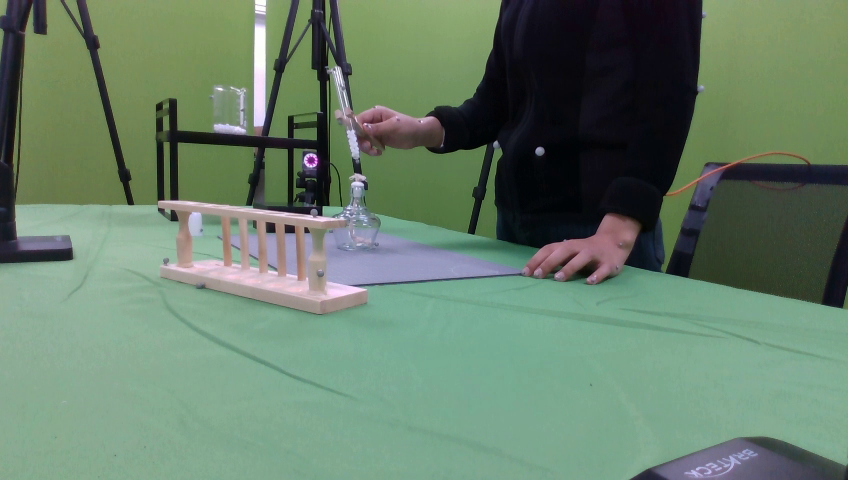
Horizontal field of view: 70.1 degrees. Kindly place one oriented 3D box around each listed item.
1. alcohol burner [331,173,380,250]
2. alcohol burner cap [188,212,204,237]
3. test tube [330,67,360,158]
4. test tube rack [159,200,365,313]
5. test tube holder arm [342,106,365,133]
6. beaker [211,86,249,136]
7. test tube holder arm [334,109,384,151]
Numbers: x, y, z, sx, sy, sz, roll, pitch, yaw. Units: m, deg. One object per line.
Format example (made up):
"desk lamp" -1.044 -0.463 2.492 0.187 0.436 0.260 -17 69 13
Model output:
"alcohol burner" -0.106 -0.044 0.930 0.078 0.119 0.078 3 6 0
"alcohol burner cap" -0.389 -0.029 1.026 0.034 0.048 0.034 3 9 0
"test tube" -0.122 -0.198 0.935 0.017 0.150 0.017 -14 -9 -2
"test tube rack" -0.173 0.009 0.624 0.241 0.085 0.067 7 9 34
"test tube holder arm" -0.111 -0.188 0.955 0.010 0.015 0.088 -13 -12 9
"beaker" -0.413 -0.274 1.297 0.074 0.100 0.083 -5 11 -44
"test tube holder arm" -0.104 -0.180 0.999 0.013 0.015 0.179 -14 -12 15
